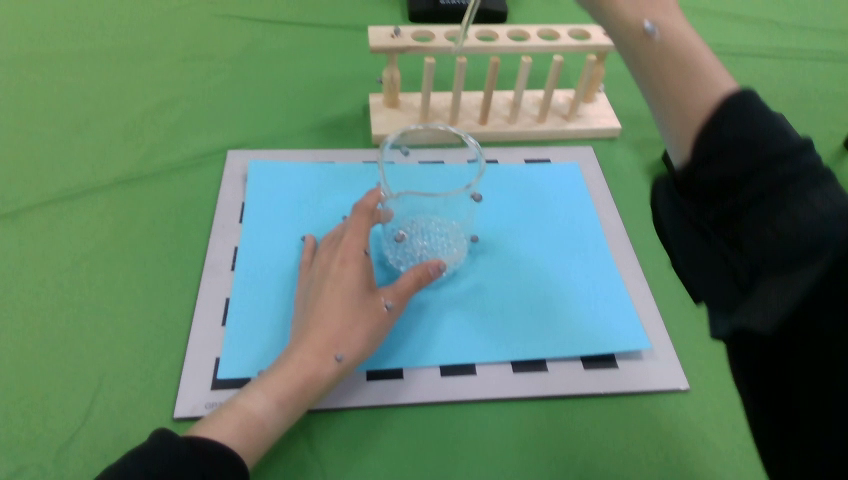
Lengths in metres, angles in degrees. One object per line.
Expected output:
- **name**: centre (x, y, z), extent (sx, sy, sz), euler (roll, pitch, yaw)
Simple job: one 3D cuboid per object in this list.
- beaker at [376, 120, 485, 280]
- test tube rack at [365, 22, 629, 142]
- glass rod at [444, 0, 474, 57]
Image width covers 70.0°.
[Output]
- **beaker**: centre (0.000, -0.024, 0.445), extent (0.073, 0.101, 0.084), euler (36, 56, 25)
- **test tube rack**: centre (0.067, -0.150, 0.575), extent (0.243, 0.086, 0.066), euler (-3, 49, -7)
- **glass rod**: centre (0.045, -0.190, 0.356), extent (0.008, 0.201, 0.008), euler (11, 52, -13)
